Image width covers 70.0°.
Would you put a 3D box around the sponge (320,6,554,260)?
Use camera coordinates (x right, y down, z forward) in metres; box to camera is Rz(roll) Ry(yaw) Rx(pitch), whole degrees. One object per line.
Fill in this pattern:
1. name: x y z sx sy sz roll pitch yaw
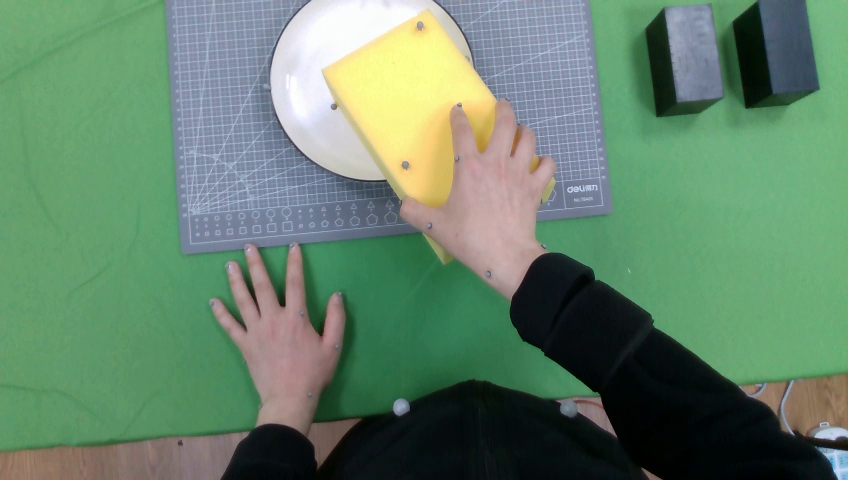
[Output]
1. sponge: 0.010 -0.100 0.563 0.118 0.061 0.205 -33 77 -5

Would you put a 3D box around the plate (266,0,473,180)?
1. plate: -0.053 -0.162 0.624 0.209 0.038 0.208 0 85 -3
